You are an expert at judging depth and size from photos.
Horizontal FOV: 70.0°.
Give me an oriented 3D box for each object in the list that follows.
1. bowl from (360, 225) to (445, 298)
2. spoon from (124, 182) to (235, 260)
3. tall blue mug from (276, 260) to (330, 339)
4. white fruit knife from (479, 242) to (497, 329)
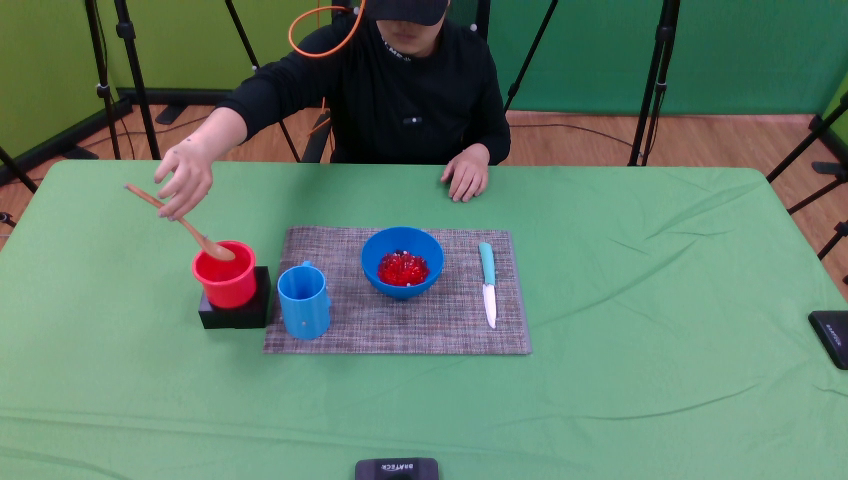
[{"bbox_3d":[-0.040,0.053,1.099,0.151,0.077,0.150,2,46,-2],"label":"bowl"},{"bbox_3d":[-0.375,-0.028,0.938,0.021,0.194,0.041,-40,25,12],"label":"spoon"},{"bbox_3d":[-0.208,0.094,1.025,0.078,0.108,0.106,-21,51,-21],"label":"tall blue mug"},{"bbox_3d":[0.122,0.080,1.130,0.027,0.016,0.206,-19,45,19],"label":"white fruit knife"}]
